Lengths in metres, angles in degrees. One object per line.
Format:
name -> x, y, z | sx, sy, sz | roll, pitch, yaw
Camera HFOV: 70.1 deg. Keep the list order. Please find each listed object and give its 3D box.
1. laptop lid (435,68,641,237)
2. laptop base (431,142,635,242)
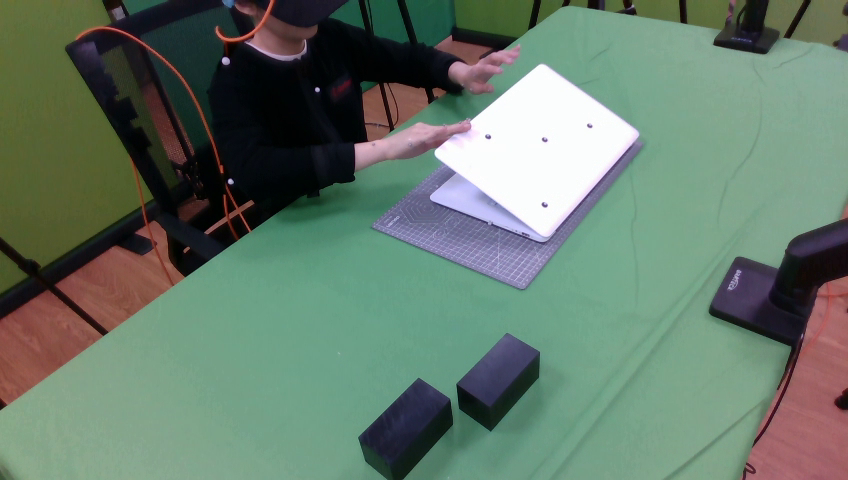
laptop lid -> 0.210, -0.171, 1.053 | 0.240, 0.013, 0.358 | 39, 56, 14
laptop base -> 0.208, -0.128, 1.098 | 0.233, 0.023, 0.355 | 20, 47, 33
